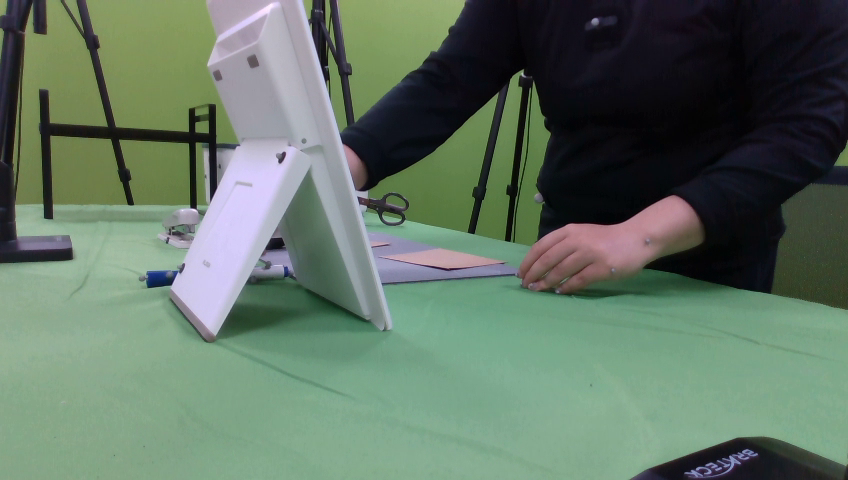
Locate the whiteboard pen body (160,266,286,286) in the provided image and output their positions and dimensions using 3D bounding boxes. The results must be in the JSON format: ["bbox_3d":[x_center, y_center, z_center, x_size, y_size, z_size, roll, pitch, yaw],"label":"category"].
[{"bbox_3d":[-0.219,0.041,0.656,0.141,0.017,0.017,-3,9,-31],"label":"whiteboard pen body"}]

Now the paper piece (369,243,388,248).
[{"bbox_3d":[-0.151,0.003,0.978,0.135,0.008,0.139,14,10,35],"label":"paper piece"}]

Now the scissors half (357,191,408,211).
[{"bbox_3d":[-0.122,-0.091,1.317,0.175,0.040,0.013,6,15,-2],"label":"scissors half"}]

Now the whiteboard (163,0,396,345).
[{"bbox_3d":[-0.173,-0.053,0.511,0.144,0.305,0.216,-23,19,-26],"label":"whiteboard"}]

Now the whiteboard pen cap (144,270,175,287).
[{"bbox_3d":[-0.271,0.039,0.627,0.033,0.018,0.018,-4,10,-33],"label":"whiteboard pen cap"}]

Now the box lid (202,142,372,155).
[{"bbox_3d":[-0.345,-0.225,1.509,0.373,0.015,0.262,-2,8,-31],"label":"box lid"}]

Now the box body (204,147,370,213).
[{"bbox_3d":[-0.347,-0.152,1.519,0.366,0.160,0.253,-2,9,-31],"label":"box body"}]

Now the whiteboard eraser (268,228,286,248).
[{"bbox_3d":[-0.253,-0.008,0.886,0.055,0.042,0.113,11,12,42],"label":"whiteboard eraser"}]

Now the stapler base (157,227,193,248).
[{"bbox_3d":[-0.376,-0.007,0.934,0.041,0.024,0.130,1,5,-38],"label":"stapler base"}]

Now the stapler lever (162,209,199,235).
[{"bbox_3d":[-0.376,-0.031,0.933,0.027,0.040,0.117,1,7,-38],"label":"stapler lever"}]

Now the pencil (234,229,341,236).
[{"bbox_3d":[-0.232,-0.012,1.053,0.195,0.012,0.012,0,8,-36],"label":"pencil"}]

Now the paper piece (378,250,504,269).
[{"bbox_3d":[0.025,0.027,0.865,0.134,0.004,0.136,9,9,43],"label":"paper piece"}]

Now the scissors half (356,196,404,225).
[{"bbox_3d":[-0.127,-0.072,1.322,0.175,0.040,0.013,22,9,-5],"label":"scissors half"}]
